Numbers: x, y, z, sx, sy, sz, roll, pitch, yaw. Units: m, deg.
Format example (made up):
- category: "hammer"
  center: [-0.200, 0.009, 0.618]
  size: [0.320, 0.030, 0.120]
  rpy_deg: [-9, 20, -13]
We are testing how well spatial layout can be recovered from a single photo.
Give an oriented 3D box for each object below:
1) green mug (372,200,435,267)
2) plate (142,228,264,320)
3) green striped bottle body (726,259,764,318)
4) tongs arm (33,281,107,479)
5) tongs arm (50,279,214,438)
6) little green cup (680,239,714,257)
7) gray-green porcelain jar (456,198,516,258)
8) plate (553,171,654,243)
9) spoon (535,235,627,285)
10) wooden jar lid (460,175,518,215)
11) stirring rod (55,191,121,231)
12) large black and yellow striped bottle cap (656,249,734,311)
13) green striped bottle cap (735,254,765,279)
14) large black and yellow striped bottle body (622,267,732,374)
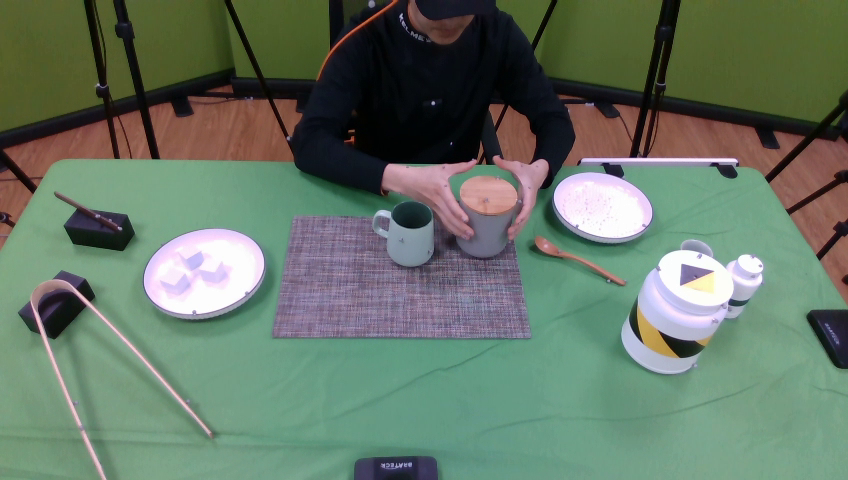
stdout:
- category: "green mug"
  center: [-0.040, -0.016, 1.146]
  size: [0.125, 0.105, 0.092]
  rpy_deg: [17, 48, 13]
- category: "plate"
  center: [-0.394, 0.064, 1.095]
  size: [0.208, 0.039, 0.206]
  rpy_deg: [2, 46, -2]
- category: "green striped bottle body"
  center: [0.563, 0.081, 1.089]
  size: [0.063, 0.120, 0.063]
  rpy_deg: [2, 46, -2]
- category: "tongs arm"
  center: [-0.517, 0.214, 0.910]
  size: [0.051, 0.026, 0.383]
  rpy_deg: [-28, 63, -27]
- category: "tongs arm"
  center: [-0.459, 0.178, 0.949]
  size: [0.386, 0.028, 0.028]
  rpy_deg: [37, 60, 17]
- category: "little green cup"
  center: [0.530, 0.033, 1.189]
  size: [0.061, 0.039, 0.061]
  rpy_deg: [2, 47, -2]
- category: "gray-green porcelain jar"
  center: [0.116, -0.037, 1.162]
  size: [0.106, 0.127, 0.105]
  rpy_deg: [2, 47, -2]
- category: "plate"
  center: [0.373, -0.066, 1.275]
  size: [0.209, 0.038, 0.208]
  rpy_deg: [2, 46, -2]
- category: "spoon"
  center: [0.303, 0.040, 1.178]
  size: [0.193, 0.022, 0.041]
  rpy_deg: [25, 32, 20]
- category: "wooden jar lid"
  center: [0.119, -0.080, 1.117]
  size: [0.108, 0.021, 0.107]
  rpy_deg: [3, 44, -2]
- category: "stirring rod"
  center: [-0.632, -0.055, 1.138]
  size: [0.175, 0.014, 0.006]
  rpy_deg: [24, 50, 19]
- category: "large black and yellow striped bottle cap"
  center: [0.419, 0.061, 0.938]
  size: [0.115, 0.019, 0.114]
  rpy_deg: [2, 47, -2]
- category: "green striped bottle cap"
  center: [0.566, 0.046, 1.051]
  size: [0.044, 0.020, 0.044]
  rpy_deg: [0, 45, 0]
- category: "large black and yellow striped bottle body"
  center: [0.415, 0.119, 0.997]
  size: [0.131, 0.185, 0.130]
  rpy_deg: [2, 46, -2]
